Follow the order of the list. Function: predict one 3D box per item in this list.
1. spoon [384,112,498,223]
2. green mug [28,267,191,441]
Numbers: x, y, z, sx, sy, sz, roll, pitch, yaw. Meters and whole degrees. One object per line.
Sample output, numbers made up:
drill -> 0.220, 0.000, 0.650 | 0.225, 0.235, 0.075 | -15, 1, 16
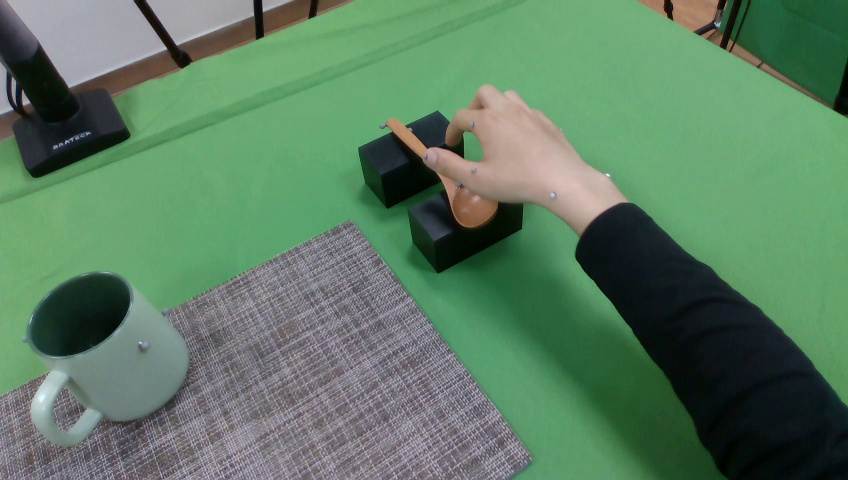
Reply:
spoon -> 0.009, -0.078, 0.585 | 0.041, 0.022, 0.191 | -40, 55, 1
green mug -> -0.254, 0.096, 0.480 | 0.092, 0.106, 0.124 | 9, 53, 13
